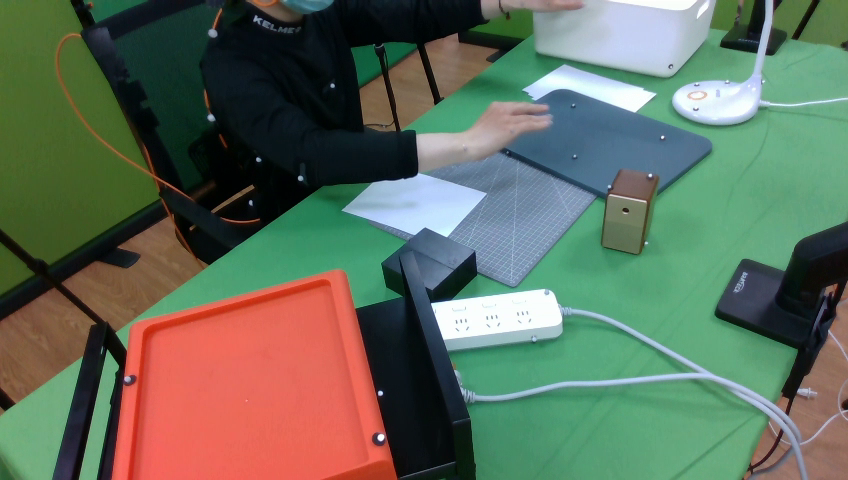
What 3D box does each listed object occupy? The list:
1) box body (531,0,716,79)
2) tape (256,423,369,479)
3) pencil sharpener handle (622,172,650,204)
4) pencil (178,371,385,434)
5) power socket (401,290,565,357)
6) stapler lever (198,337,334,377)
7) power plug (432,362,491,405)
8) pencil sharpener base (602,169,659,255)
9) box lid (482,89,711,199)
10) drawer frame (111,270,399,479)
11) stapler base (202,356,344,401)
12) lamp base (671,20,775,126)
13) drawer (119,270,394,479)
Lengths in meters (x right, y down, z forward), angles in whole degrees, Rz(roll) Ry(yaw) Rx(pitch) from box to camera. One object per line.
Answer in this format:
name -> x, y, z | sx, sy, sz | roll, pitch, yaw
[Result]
box body -> 0.459, -0.522, 1.407 | 0.361, 0.161, 0.255 | 22, 49, 30
tape -> -0.121, 0.262, 0.660 | 0.117, 0.053, 0.116 | -4, 40, 4
pencil sharpener handle -> 0.328, -0.086, 0.940 | 0.036, 0.068, 0.030 | 29, 49, 8
pencil -> -0.128, 0.141, 0.534 | 0.194, 0.012, 0.012 | 14, 44, 7
power socket -> 0.080, 0.113, 0.821 | 0.227, 0.033, 0.072 | -6, 41, 0
stapler lever -> -0.142, 0.105, 0.541 | 0.118, 0.040, 0.026 | -3, 43, 4
power plug -> 0.044, 0.182, 0.759 | 0.073, 0.035, 0.052 | 23, 42, -19
pencil sharpener base -> 0.311, -0.044, 0.913 | 0.061, 0.107, 0.077 | 14, 45, 24
box lid -> 0.319, -0.190, 1.156 | 0.264, 0.015, 0.368 | -33, 47, -28
drawer frame -> -0.140, 0.140, 0.506 | 0.202, 0.083, 0.212 | -15, 41, -9
stapler base -> -0.141, 0.123, 0.557 | 0.130, 0.024, 0.041 | -2, 43, 3
lamp base -> 0.582, -0.332, 1.153 | 0.179, 0.181, 0.160 | 2, 41, 7
drawer -> -0.141, 0.139, 0.509 | 0.195, 0.073, 0.210 | -14, 42, -8
